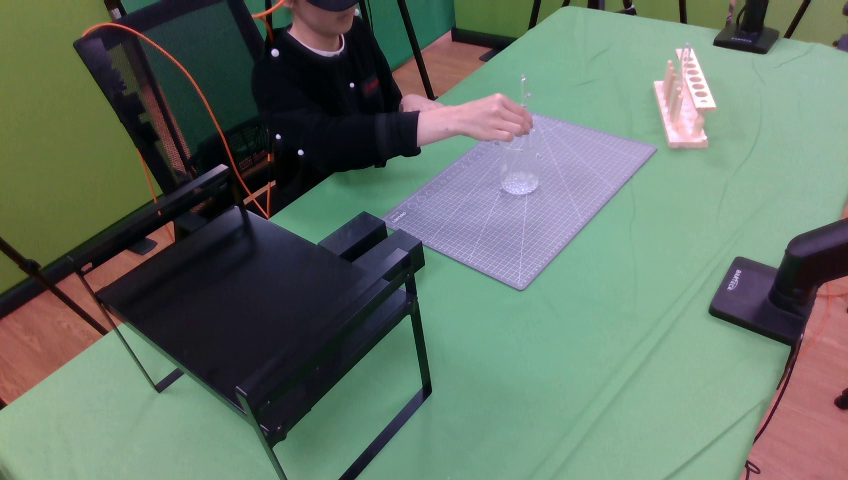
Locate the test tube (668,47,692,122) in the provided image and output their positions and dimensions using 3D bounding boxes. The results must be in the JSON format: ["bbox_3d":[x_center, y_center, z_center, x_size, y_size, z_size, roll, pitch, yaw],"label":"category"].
[{"bbox_3d":[0.472,-0.285,1.117,0.017,0.151,0.017,-4,44,4],"label":"test tube"}]

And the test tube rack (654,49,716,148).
[{"bbox_3d":[0.502,-0.281,1.176,0.066,0.085,0.241,1,41,11],"label":"test tube rack"}]

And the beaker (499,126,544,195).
[{"bbox_3d":[0.170,-0.137,1.045,0.073,0.101,0.084,12,44,21],"label":"beaker"}]

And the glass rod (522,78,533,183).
[{"bbox_3d":[0.172,-0.176,1.000,0.008,0.201,0.008,-7,41,7],"label":"glass rod"}]
